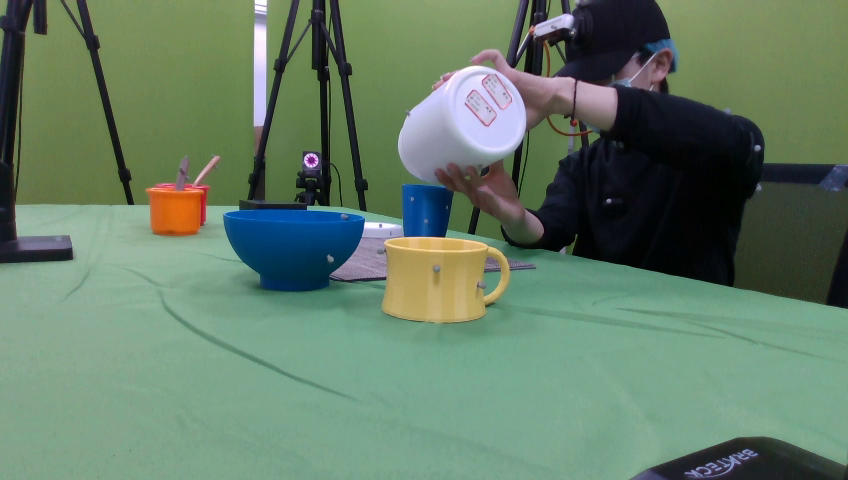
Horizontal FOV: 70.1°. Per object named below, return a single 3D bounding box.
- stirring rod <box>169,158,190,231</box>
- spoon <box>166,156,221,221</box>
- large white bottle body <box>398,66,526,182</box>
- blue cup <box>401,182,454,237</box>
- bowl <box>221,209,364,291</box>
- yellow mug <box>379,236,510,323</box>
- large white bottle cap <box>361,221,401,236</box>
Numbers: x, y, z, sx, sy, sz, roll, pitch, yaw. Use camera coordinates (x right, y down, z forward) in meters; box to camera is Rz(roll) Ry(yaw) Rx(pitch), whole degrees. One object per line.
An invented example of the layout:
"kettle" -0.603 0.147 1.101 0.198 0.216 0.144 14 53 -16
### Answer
"stirring rod" -0.427 -0.083 1.059 0.014 0.006 0.175 2 49 -13
"spoon" -0.447 -0.104 1.191 0.041 0.022 0.193 7 52 14
"large white bottle body" 0.046 -0.158 0.881 0.131 0.130 0.184 -1 -9 -26
"blue cup" 0.002 -0.038 0.966 0.093 0.100 0.092 4 8 0
"bowl" -0.142 0.011 0.660 0.151 0.077 0.151 2 7 0
"yellow mug" 0.024 0.034 0.575 0.131 0.064 0.099 1 7 -22
"large white bottle cap" -0.099 -0.021 1.123 0.115 0.018 0.115 2 8 0
